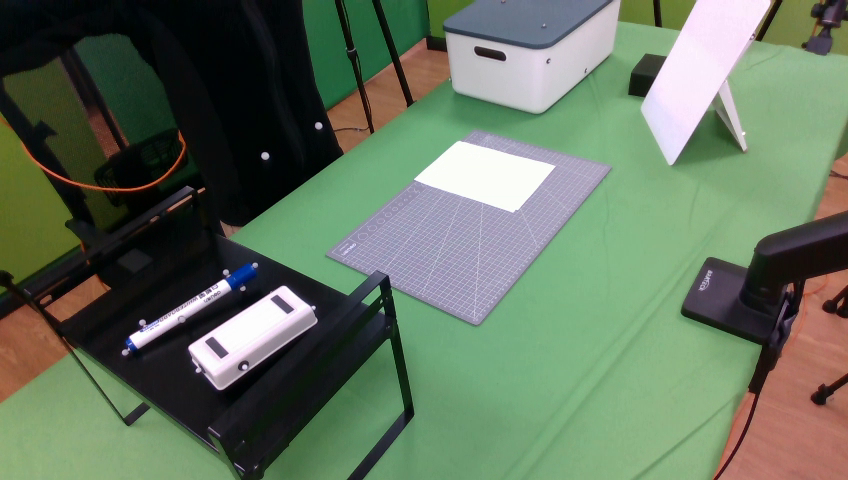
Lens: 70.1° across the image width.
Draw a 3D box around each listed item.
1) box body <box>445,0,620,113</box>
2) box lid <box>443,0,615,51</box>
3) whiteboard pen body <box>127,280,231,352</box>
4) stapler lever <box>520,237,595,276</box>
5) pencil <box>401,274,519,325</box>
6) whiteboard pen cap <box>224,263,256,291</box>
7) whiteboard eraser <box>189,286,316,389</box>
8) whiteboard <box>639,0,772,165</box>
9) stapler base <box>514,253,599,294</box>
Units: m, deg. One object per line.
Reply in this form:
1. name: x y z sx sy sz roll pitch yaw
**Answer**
1. box body: 0.249 -0.447 1.356 0.252 0.161 0.365 23 49 31
2. box lid: 0.243 -0.504 1.308 0.261 0.015 0.372 24 50 31
3. whiteboard pen body: -0.248 0.072 0.645 0.141 0.017 0.017 -35 47 -23
4. stapler lever: 0.193 0.018 0.875 0.118 0.040 0.026 -21 43 -17
5. pencil: 0.056 0.082 0.872 0.195 0.012 0.012 -20 42 -19
6. whiteboard pen cap: -0.204 0.041 0.668 0.033 0.018 0.018 -36 48 -22
7. whiteboard eraser: -0.166 0.096 0.593 0.113 0.042 0.055 -36 47 -29
8. whiteboard: 0.543 -0.298 1.076 0.144 0.305 0.216 12 40 -7
9. stapler base: 0.195 0.039 0.891 0.131 0.024 0.041 -22 43 -16
